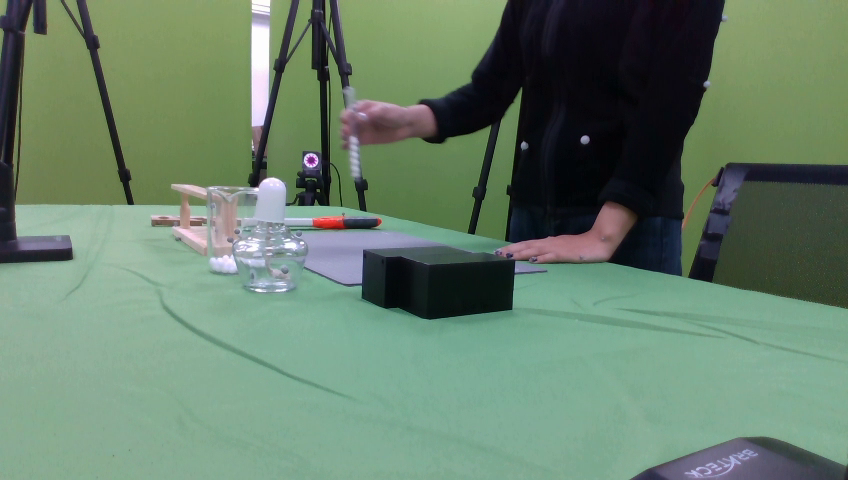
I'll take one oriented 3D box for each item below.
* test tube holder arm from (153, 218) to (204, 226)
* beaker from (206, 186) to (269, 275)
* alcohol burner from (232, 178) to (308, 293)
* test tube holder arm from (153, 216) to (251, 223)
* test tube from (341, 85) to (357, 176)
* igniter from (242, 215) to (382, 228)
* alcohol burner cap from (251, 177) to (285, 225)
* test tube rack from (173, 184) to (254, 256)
[{"bbox_3d":[-0.459,-0.034,1.132,0.088,0.015,0.010,-1,43,-30],"label":"test tube holder arm"},{"bbox_3d":[-0.220,-0.012,0.717,0.074,0.100,0.084,2,8,-3],"label":"beaker"},{"bbox_3d":[-0.161,-0.006,0.632,0.078,0.119,0.078,1,8,0],"label":"alcohol burner"},{"bbox_3d":[-0.422,-0.039,1.159,0.179,0.015,0.013,-2,43,-31],"label":"test tube holder arm"},{"bbox_3d":[-0.118,-0.175,0.959,0.017,0.150,0.017,-5,-10,-1],"label":"test tube"},{"bbox_3d":[-0.212,-0.036,1.186,0.278,0.025,0.057,-2,-2,-31],"label":"igniter"},{"bbox_3d":[-0.160,-0.041,0.628,0.034,0.048,0.034,8,6,-1],"label":"alcohol burner cap"},{"bbox_3d":[-0.328,-0.036,0.927,0.067,0.085,0.241,-2,9,-32],"label":"test tube rack"}]
